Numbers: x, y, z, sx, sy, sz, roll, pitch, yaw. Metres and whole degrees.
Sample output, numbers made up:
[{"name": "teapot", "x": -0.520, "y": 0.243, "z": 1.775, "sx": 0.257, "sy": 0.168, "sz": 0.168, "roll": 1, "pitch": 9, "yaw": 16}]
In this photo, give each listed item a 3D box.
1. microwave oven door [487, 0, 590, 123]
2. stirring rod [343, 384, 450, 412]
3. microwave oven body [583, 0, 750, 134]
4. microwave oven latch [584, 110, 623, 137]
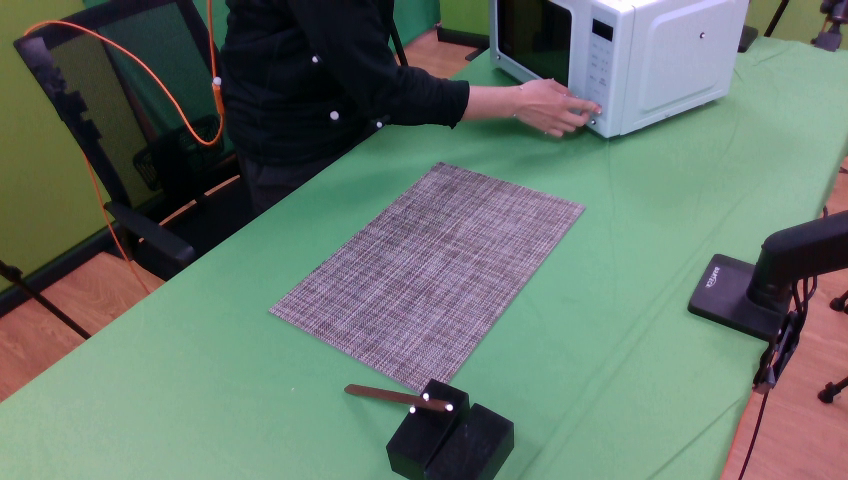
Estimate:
[{"name": "microwave oven door", "x": 0.232, "y": -0.420, "z": 1.231, "sx": 0.039, "sy": 0.245, "sz": 0.352, "roll": -22, "pitch": 43, "yaw": -16}, {"name": "stirring rod", "x": -0.037, "y": 0.185, "z": 0.715, "sx": 0.175, "sy": 0.006, "sz": 0.014, "roll": -4, "pitch": 23, "yaw": 43}, {"name": "microwave oven body", "x": 0.382, "y": -0.445, "z": 1.246, "sx": 0.327, "sy": 0.261, "sz": 0.437, "roll": -22, "pitch": 42, "yaw": -16}, {"name": "microwave oven latch", "x": 0.337, "y": -0.223, "z": 1.142, "sx": 0.030, "sy": 0.029, "sz": 0.078, "roll": -21, "pitch": 42, "yaw": -14}]
